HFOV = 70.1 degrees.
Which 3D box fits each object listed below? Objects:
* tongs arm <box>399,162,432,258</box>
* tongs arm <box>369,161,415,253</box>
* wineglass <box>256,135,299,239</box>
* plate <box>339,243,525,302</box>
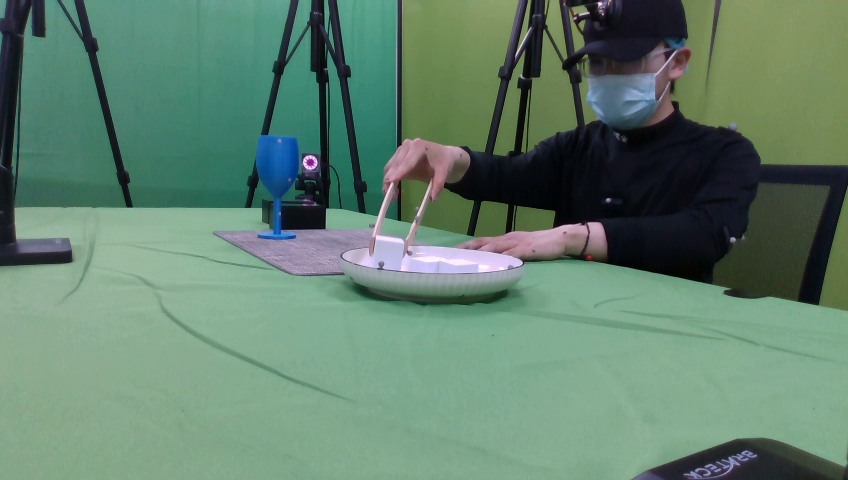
[{"bbox_3d":[-0.019,-0.056,0.856,0.051,0.026,0.385,11,20,4],"label":"tongs arm"},{"bbox_3d":[-0.043,-0.060,0.855,0.028,0.028,0.387,6,20,2],"label":"tongs arm"},{"bbox_3d":[-0.252,-0.091,1.035,0.074,0.172,0.073,2,7,0],"label":"wineglass"},{"bbox_3d":[0.008,0.035,0.682,0.209,0.038,0.209,3,7,0],"label":"plate"}]
